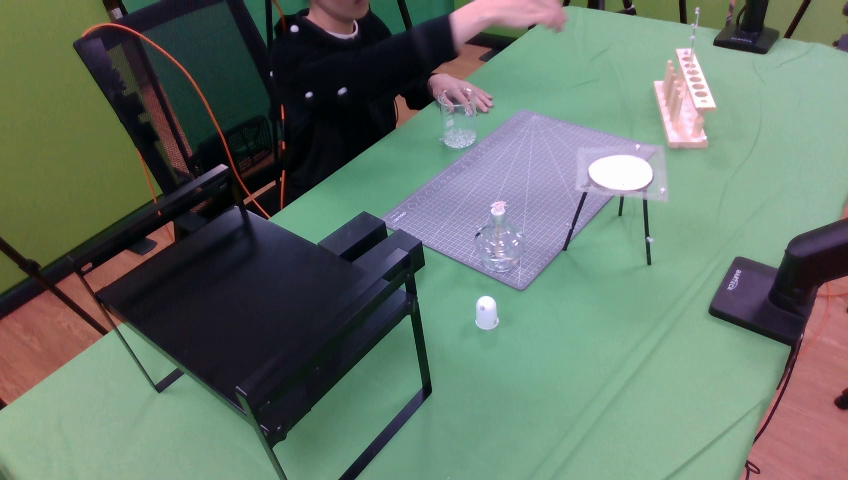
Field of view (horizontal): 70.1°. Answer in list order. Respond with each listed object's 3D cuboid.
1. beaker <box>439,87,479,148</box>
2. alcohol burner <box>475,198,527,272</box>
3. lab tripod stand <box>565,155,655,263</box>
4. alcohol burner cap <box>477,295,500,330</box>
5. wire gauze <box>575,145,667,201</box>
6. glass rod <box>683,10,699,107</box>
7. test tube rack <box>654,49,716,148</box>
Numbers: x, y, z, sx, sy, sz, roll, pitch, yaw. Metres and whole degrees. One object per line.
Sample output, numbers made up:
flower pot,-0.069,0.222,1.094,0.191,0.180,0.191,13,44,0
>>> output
beaker,0.072,-0.239,1.184,0.073,0.101,0.084,29,52,35
alcohol burner,0.113,-0.012,0.897,0.078,0.119,0.077,-6,40,6
lab tripod stand,0.285,-0.046,0.901,0.148,0.132,0.147,-5,42,5
alcohol burner cap,0.089,0.097,0.833,0.034,0.048,0.033,-4,42,4
wire gauze,0.279,-0.100,0.861,0.124,0.011,0.121,5,43,14
glass rod,0.501,-0.335,1.138,0.008,0.201,0.008,-7,45,7
test tube rack,0.502,-0.281,1.176,0.066,0.085,0.241,1,41,11
